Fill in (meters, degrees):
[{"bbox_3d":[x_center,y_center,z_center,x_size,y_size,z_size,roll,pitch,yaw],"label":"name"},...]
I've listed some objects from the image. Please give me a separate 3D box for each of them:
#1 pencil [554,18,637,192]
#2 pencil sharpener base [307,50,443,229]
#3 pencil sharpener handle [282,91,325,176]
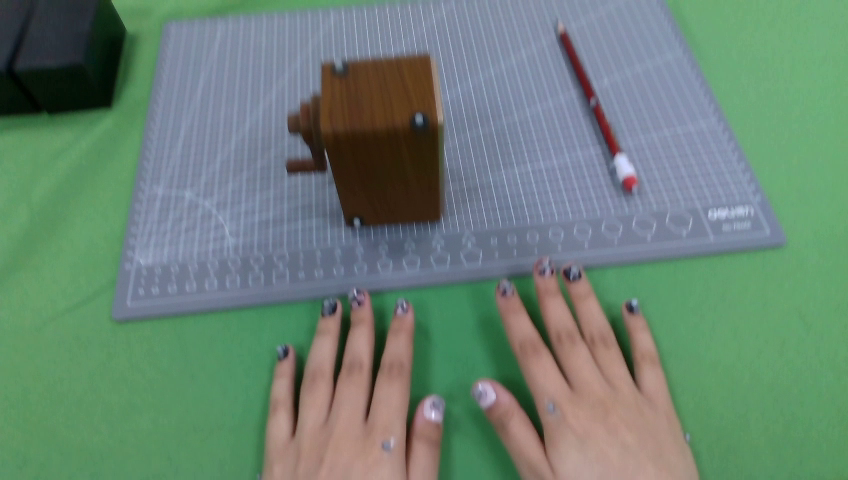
[{"bbox_3d":[0.131,-0.115,0.480,0.012,0.012,0.192,-9,58,-4],"label":"pencil"},{"bbox_3d":[-0.028,-0.060,0.392,0.077,0.108,0.061,-5,59,-1],"label":"pencil sharpener base"},{"bbox_3d":[-0.080,-0.062,0.381,0.030,0.068,0.035,-5,61,-1],"label":"pencil sharpener handle"}]
